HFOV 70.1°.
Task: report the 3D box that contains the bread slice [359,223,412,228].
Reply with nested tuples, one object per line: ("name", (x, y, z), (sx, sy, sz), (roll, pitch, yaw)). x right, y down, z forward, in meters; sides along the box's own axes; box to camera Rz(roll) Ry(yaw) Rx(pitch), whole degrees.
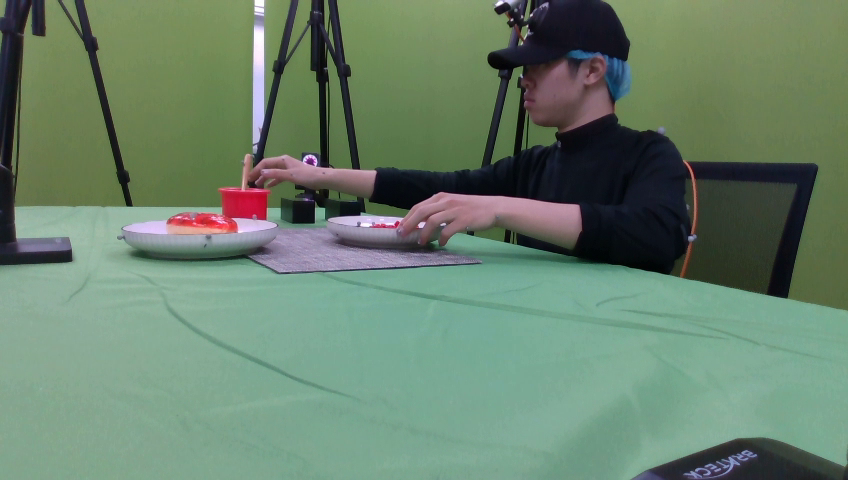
("bread slice", (-0.062, -0.012, 1.034), (0.105, 0.019, 0.131), (0, 9, -19))

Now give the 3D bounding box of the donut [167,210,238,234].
("donut", (-0.321, -0.017, 0.882), (0.099, 0.048, 0.099), (3, 6, 0))

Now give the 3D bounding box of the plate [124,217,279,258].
("plate", (-0.315, -0.004, 0.871), (0.208, 0.039, 0.207), (1, 8, 0))

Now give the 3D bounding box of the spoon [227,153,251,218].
("spoon", (-0.363, -0.107, 1.211), (0.042, 0.021, 0.193), (-1, 47, -7))

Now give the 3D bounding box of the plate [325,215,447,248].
("plate", (-0.065, -0.015, 1.035), (0.209, 0.038, 0.209), (3, 8, 0))
